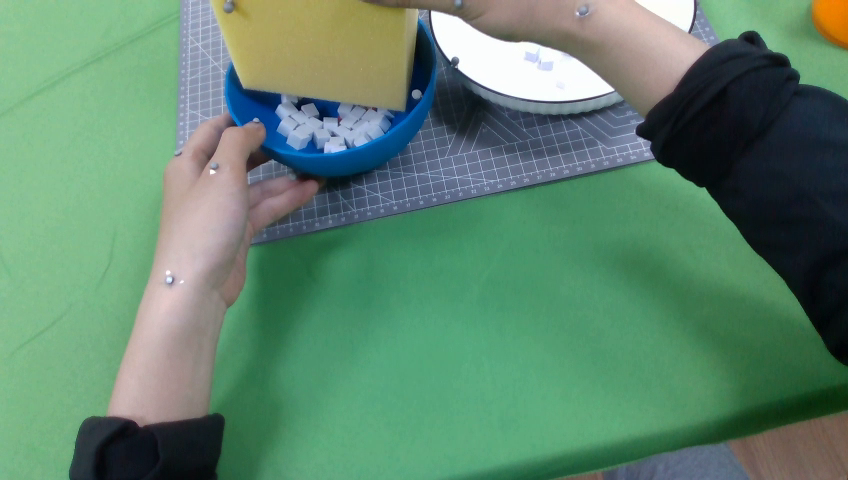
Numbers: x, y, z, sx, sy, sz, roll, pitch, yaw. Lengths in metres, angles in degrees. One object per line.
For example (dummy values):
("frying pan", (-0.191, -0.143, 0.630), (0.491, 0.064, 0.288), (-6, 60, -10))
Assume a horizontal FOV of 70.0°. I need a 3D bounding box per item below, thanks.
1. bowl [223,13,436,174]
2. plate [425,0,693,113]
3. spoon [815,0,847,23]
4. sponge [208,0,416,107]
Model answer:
("bowl", (-0.062, -0.103, 0.453), (0.151, 0.077, 0.150), (-2, 63, 5))
("plate", (0.105, -0.184, 0.494), (0.209, 0.038, 0.207), (-3, 64, 6))
("spoon", (0.374, -0.223, 0.419), (0.022, 0.194, 0.041), (5, 58, -41))
("sponge", (-0.065, -0.168, 0.346), (0.118, 0.208, 0.060), (6, 67, 2))
